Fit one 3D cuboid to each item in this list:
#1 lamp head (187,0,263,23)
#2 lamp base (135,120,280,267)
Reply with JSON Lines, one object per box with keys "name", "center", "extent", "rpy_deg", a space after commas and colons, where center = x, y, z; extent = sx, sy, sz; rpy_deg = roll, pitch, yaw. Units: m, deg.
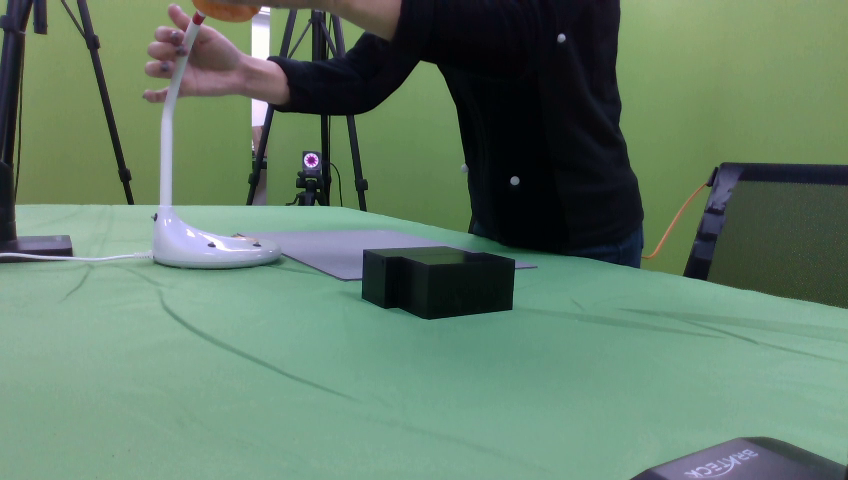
{"name": "lamp head", "center": [-0.196, -0.278, 0.594], "extent": [0.112, 0.122, 0.112], "rpy_deg": [7, -1, 0]}
{"name": "lamp base", "center": [-0.276, -0.061, 0.773], "extent": [0.160, 0.180, 0.180], "rpy_deg": [9, 13, 44]}
